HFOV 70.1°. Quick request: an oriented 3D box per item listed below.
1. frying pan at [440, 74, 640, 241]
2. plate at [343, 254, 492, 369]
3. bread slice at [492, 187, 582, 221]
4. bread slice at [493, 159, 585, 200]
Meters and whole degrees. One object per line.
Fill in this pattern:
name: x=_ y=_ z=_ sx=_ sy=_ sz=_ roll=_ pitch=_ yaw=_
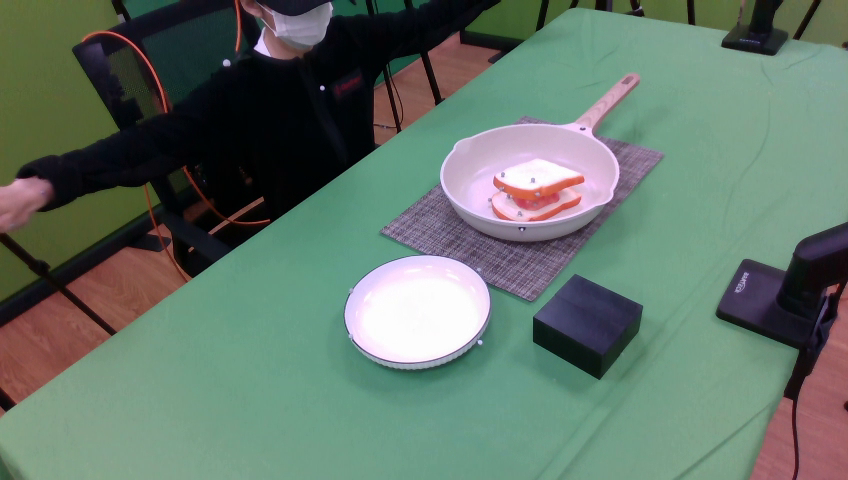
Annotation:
frying pan: x=0.245 y=-0.161 z=1.058 sx=0.304 sy=0.103 sz=0.489 roll=30 pitch=61 yaw=35
plate: x=-0.008 y=0.100 z=0.847 sx=0.207 sy=0.039 sz=0.206 roll=-4 pitch=40 yaw=4
bread slice: x=0.183 y=-0.067 z=1.016 sx=0.135 sy=0.018 sz=0.106 roll=-29 pitch=43 yaw=-23
bread slice: x=0.182 y=-0.100 z=0.985 sx=0.132 sy=0.019 sz=0.104 roll=-20 pitch=33 yaw=-33
